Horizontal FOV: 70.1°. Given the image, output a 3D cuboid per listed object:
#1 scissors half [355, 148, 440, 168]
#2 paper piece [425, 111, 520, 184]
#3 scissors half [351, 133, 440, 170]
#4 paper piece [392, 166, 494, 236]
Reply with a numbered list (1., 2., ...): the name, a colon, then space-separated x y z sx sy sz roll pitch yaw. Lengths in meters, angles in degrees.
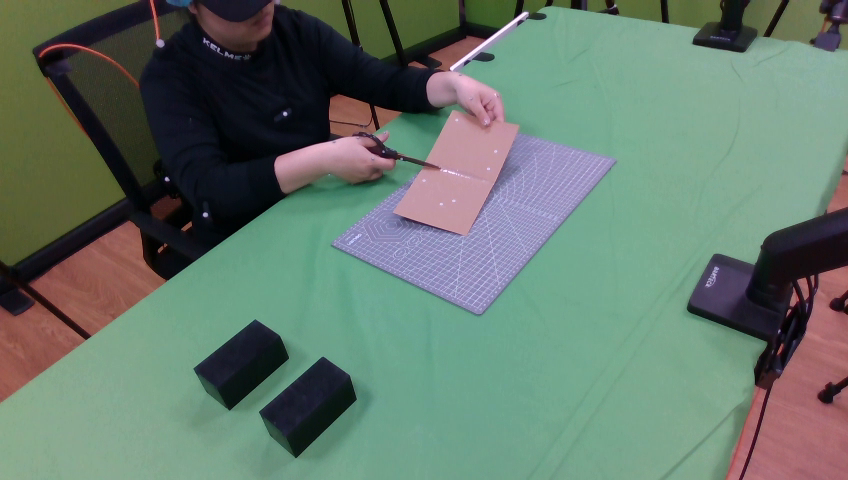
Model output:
1. scissors half: -0.049 -0.145 1.112 0.174 0.040 0.013 10 56 26
2. paper piece: 0.088 -0.172 1.102 0.135 0.009 0.138 20 64 12
3. scissors half: -0.052 -0.157 1.094 0.175 0.040 0.013 22 65 4
4. paper piece: 0.035 -0.071 1.034 0.135 0.004 0.135 18 51 16
